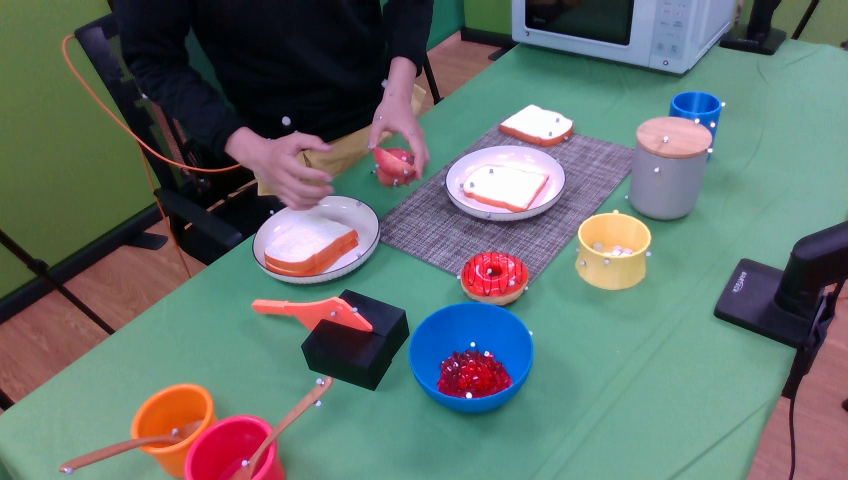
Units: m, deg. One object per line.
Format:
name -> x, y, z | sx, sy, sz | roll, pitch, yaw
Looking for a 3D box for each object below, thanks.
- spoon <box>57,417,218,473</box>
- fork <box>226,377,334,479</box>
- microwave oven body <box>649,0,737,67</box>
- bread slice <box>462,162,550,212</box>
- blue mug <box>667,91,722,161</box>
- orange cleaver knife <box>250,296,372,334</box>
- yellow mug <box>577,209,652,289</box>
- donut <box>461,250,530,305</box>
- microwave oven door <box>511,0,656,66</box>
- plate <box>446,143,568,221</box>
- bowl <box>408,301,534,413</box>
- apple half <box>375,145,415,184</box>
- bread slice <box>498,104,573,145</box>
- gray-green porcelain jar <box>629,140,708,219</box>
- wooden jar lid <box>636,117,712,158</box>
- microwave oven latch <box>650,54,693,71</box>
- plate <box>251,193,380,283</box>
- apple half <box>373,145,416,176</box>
spoon -> -0.304, 0.221, 0.661 | 0.041, 0.195, 0.021 | 19, 92, 27
fork -> -0.163, 0.216, 0.647 | 0.207, 0.019, 0.028 | -49, 41, 16
microwave oven body -> 0.475, -0.602, 1.411 | 0.438, 0.261, 0.327 | 23, 50, 32
bread slice -> 0.135, -0.094, 1.045 | 0.133, 0.018, 0.107 | 15, 45, 23
blue mug -> 0.473, -0.207, 1.079 | 0.082, 0.106, 0.116 | 4, 42, 13
orange cleaver knife -> -0.158, 0.103, 0.828 | 0.210, 0.078, 0.012 | -4, 43, 39
yellow mug -> 0.279, 0.004, 0.893 | 0.099, 0.064, 0.130 | 5, 42, 14
donut -> 0.103, 0.053, 0.872 | 0.099, 0.048, 0.098 | -4, 40, 4
microwave oven door -> 0.351, -0.539, 1.349 | 0.353, 0.245, 0.039 | 24, 50, 31
plate -> 0.142, -0.097, 1.045 | 0.207, 0.039, 0.206 | -4, 41, 4
bowl -> 0.059, 0.156, 0.739 | 0.151, 0.077, 0.150 | -4, 40, 4
apple half -> -0.055, -0.149, 1.129 | 0.074, 0.053, 0.080 | -2, 40, 5
bread slice -> 0.231, -0.231, 1.205 | 0.105, 0.019, 0.130 | -36, 47, -29
gray-green porcelain jar -> 0.383, -0.105, 0.958 | 0.106, 0.127, 0.105 | -4, 41, 4
wooden jar lid -> 0.377, -0.151, 0.917 | 0.108, 0.021, 0.108 | -2, 41, 3
microwave oven latch -> 0.531, -0.386, 1.301 | 0.078, 0.029, 0.030 | 26, 51, 33
plate -> -0.173, -0.001, 0.984 | 0.209, 0.038, 0.208 | -4, 41, 4
apple half -> -0.054, -0.123, 0.986 | 0.080, 0.082, 0.033 | 29, 90, 34
